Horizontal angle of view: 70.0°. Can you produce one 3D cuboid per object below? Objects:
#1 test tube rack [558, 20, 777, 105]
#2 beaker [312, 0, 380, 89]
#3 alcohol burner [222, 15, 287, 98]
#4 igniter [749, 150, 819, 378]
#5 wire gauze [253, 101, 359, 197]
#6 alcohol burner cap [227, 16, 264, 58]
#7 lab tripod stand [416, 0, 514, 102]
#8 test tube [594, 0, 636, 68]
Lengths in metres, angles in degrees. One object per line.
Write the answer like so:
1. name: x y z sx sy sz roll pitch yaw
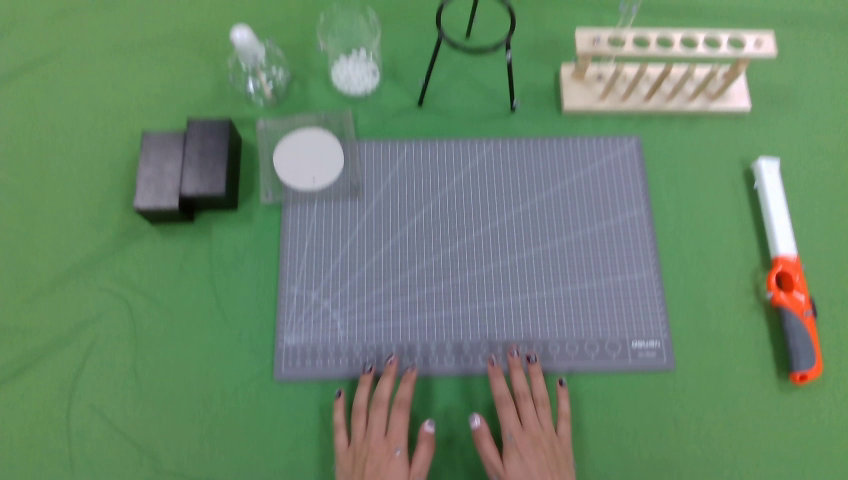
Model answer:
1. test tube rack: 0.298 -0.219 0.756 0.242 0.085 0.066 0 73 -1
2. beaker: -0.089 -0.238 0.742 0.074 0.101 0.083 -31 77 -10
3. alcohol burner: -0.207 -0.224 0.727 0.078 0.120 0.077 1 71 -1
4. igniter: 0.424 0.023 0.716 0.057 0.025 0.275 3 73 -12
5. wire gauze: -0.147 -0.112 0.746 0.125 0.011 0.120 -7 72 -3
6. alcohol burner cap: -0.206 -0.235 0.692 0.034 0.048 0.033 -1 77 4
7. lab tripod stand: 0.053 -0.239 0.729 0.148 0.132 0.147 0 72 0
8. test tube: 0.227 -0.253 0.712 0.017 0.151 0.017 1 69 -1
